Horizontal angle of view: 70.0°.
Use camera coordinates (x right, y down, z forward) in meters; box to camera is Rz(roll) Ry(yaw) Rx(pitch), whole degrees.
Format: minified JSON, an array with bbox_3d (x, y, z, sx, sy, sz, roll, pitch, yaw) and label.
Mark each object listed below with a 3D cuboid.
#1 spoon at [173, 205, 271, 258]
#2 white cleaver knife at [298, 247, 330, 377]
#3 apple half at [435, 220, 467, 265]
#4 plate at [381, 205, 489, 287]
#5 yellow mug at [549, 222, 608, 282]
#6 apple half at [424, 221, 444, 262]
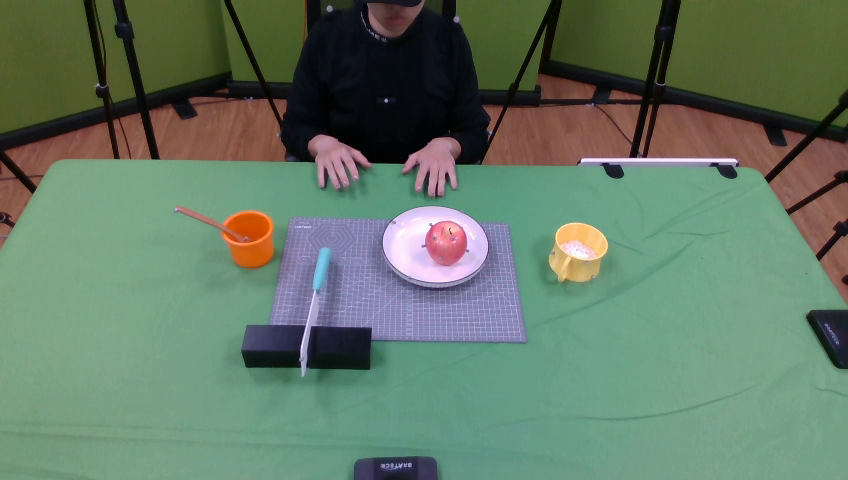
[{"bbox_3d":[-0.362,-0.017,1.098,0.021,0.195,0.041,-32,42,27],"label":"spoon"},{"bbox_3d":[-0.191,0.112,1.037,0.021,0.066,0.285,5,36,-2],"label":"white cleaver knife"},{"bbox_3d":[0.054,0.009,1.142,0.053,0.075,0.080,14,44,3],"label":"apple half"},{"bbox_3d":[0.021,0.015,1.170,0.209,0.038,0.208,2,46,-2],"label":"plate"},{"bbox_3d":[0.287,0.031,1.159,0.099,0.064,0.130,28,51,21],"label":"yellow mug"},{"bbox_3d":[0.016,0.002,1.145,0.033,0.081,0.081,14,46,2],"label":"apple half"}]
